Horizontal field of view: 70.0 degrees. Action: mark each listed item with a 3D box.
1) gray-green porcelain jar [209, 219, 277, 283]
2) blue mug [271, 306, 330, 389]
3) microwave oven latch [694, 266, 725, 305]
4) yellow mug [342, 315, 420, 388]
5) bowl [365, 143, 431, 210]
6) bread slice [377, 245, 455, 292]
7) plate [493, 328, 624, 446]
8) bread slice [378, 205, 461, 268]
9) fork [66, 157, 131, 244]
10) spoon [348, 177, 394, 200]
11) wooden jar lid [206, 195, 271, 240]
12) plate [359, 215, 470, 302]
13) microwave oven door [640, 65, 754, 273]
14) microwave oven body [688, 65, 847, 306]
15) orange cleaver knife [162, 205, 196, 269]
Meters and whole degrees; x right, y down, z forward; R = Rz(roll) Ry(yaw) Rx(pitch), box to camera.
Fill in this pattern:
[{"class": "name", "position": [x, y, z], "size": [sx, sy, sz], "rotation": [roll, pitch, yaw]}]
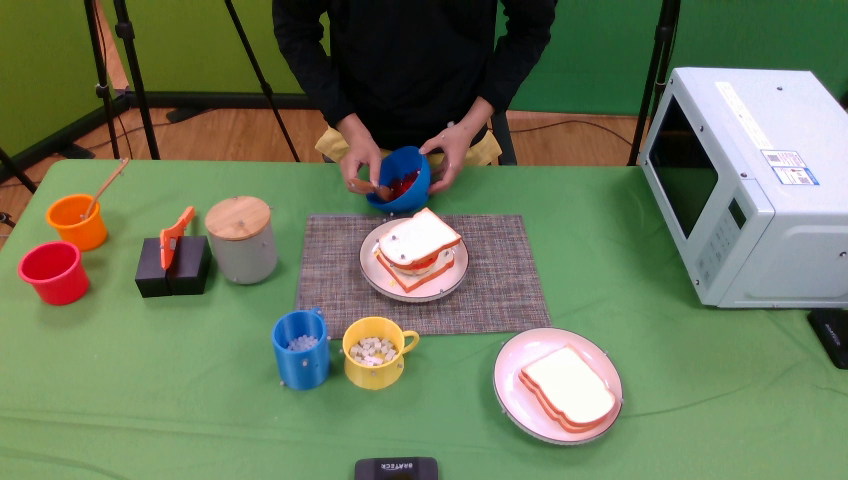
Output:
[{"class": "gray-green porcelain jar", "position": [-0.323, 0.007, 1.092], "size": [0.106, 0.127, 0.105], "rotation": [2, 46, -2]}, {"class": "blue mug", "position": [-0.188, 0.163, 0.969], "size": [0.082, 0.106, 0.116], "rotation": [15, 47, 10]}, {"class": "microwave oven latch", "position": [0.523, 0.082, 1.115], "size": [0.030, 0.029, 0.078], "rotation": [3, 46, 0]}, {"class": "yellow mug", "position": [-0.068, 0.177, 0.990], "size": [0.131, 0.064, 0.099], "rotation": [-16, 50, -19]}, {"class": "bowl", "position": [-0.039, -0.115, 1.242], "size": [0.151, 0.077, 0.150], "rotation": [-24, 45, 27]}, {"class": "bread slice", "position": [-0.010, 0.033, 1.149], "size": [0.131, 0.019, 0.104], "rotation": [-28, 55, -25]}, {"class": "plate", "position": [0.213, 0.236, 0.974], "size": [0.208, 0.039, 0.206], "rotation": [2, 46, -2]}, {"class": "bread slice", "position": [-0.014, -0.002, 1.097], "size": [0.134, 0.018, 0.106], "rotation": [-34, 51, -22]}, {"class": "fork", "position": [-0.608, -0.074, 1.132], "size": [0.207, 0.019, 0.028], "rotation": [-52, 48, 10]}, {"class": "spoon", "position": [-0.102, -0.105, 1.180], "size": [0.021, 0.194, 0.041], "rotation": [-31, 77, 12]}, {"class": "wooden jar lid", "position": [-0.319, -0.036, 1.046], "size": [0.108, 0.021, 0.107], "rotation": [1, 44, 0]}, {"class": "plate", "position": [-0.019, 0.038, 1.140], "size": [0.209, 0.038, 0.208], "rotation": [2, 46, -2]}, {"class": "microwave oven door", "position": [0.523, -0.147, 1.193], "size": [0.039, 0.245, 0.353], "rotation": [0, 47, -3]}, {"class": "microwave oven body", "position": [0.669, -0.111, 1.176], "size": [0.326, 0.261, 0.439], "rotation": [0, 46, -3]}, {"class": "orange cleaver knife", "position": [-0.454, -0.010, 1.129], "size": [0.012, 0.077, 0.210], "rotation": [-2, 20, -5]}]
